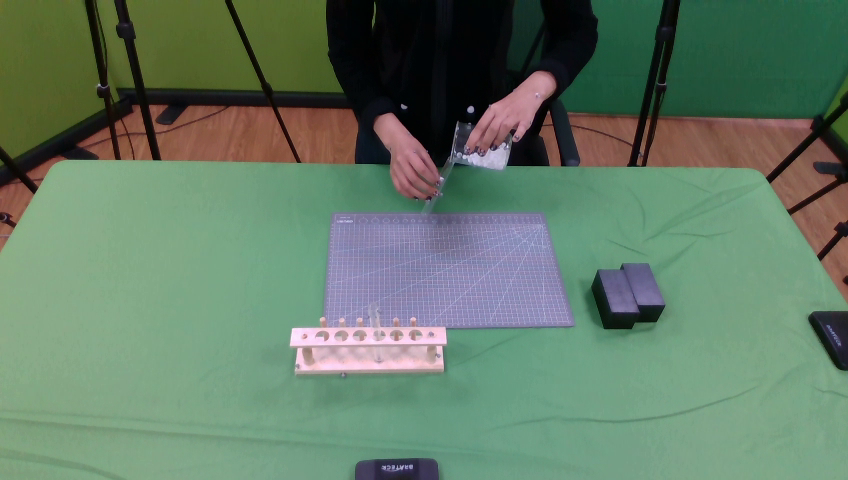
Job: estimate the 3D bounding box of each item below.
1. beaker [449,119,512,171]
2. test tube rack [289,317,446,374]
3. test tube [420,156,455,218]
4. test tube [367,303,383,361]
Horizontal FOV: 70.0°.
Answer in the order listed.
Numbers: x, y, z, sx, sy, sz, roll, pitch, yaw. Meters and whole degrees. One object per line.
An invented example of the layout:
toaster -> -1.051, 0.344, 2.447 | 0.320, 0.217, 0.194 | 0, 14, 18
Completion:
beaker -> 0.099, -0.162, 1.064 | 0.100, 0.084, 0.073 | 11, 53, 0
test tube rack -> -0.089, 0.167, 0.987 | 0.242, 0.085, 0.066 | 0, 46, -4
test tube -> 0.024, -0.097, 1.140 | 0.017, 0.151, 0.017 | 16, 41, -14
test tube -> -0.075, 0.146, 0.941 | 0.017, 0.151, 0.017 | 0, 49, 0
